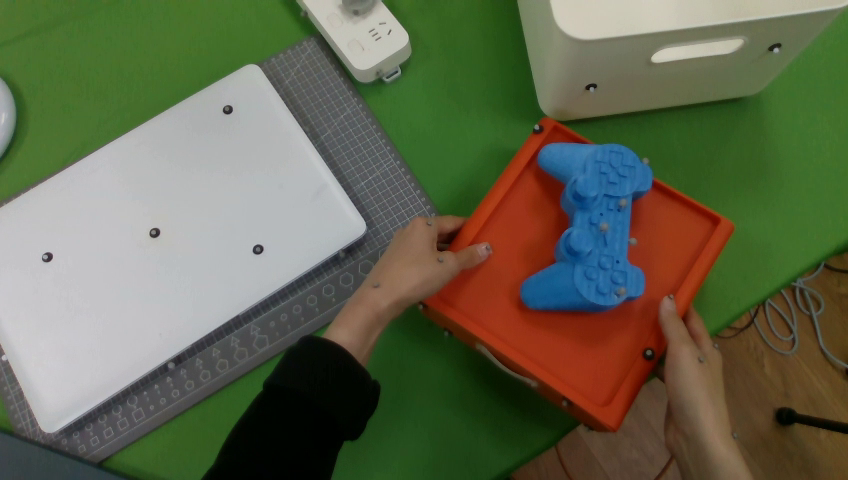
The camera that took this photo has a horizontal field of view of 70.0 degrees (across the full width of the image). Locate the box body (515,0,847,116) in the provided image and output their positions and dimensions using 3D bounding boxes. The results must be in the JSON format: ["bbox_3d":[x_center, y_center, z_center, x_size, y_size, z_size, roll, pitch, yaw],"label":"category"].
[{"bbox_3d":[0.214,-0.324,0.617,0.254,0.161,0.361,-8,73,0],"label":"box body"}]

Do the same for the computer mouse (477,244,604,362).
[{"bbox_3d":[0.107,0.056,0.563,0.116,0.041,0.063,41,81,16],"label":"computer mouse"}]

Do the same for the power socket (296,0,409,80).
[{"bbox_3d":[-0.099,-0.272,0.682,0.072,0.033,0.225,-34,74,-10],"label":"power socket"}]

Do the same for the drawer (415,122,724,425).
[{"bbox_3d":[0.130,0.028,0.555,0.193,0.074,0.211,33,76,12],"label":"drawer"}]

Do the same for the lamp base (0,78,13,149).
[{"bbox_3d":[-0.544,-0.153,0.587,0.179,0.181,0.160,16,73,10],"label":"lamp base"}]

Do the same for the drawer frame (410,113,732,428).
[{"bbox_3d":[0.129,0.025,0.554,0.201,0.083,0.213,33,76,12],"label":"drawer frame"}]

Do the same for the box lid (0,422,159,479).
[{"bbox_3d":[-0.378,0.307,0.525,0.371,0.015,0.262,16,74,7],"label":"box lid"}]

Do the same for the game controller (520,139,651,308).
[{"bbox_3d":[0.139,-0.017,0.514,0.097,0.052,0.154,9,74,2],"label":"game controller"}]

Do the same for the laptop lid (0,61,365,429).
[{"bbox_3d":[-0.264,-0.009,0.602,0.357,0.013,0.240,-32,77,-7],"label":"laptop lid"}]

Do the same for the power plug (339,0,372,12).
[{"bbox_3d":[-0.058,-0.271,0.656,0.072,0.053,0.035,-23,72,-6],"label":"power plug"}]

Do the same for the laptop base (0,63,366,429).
[{"bbox_3d":[-0.264,-0.007,0.614,0.354,0.023,0.234,-34,78,-8],"label":"laptop base"}]
